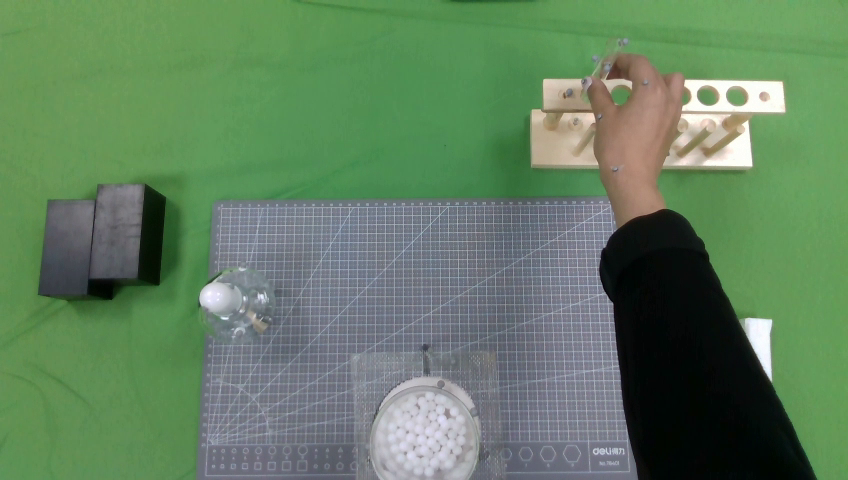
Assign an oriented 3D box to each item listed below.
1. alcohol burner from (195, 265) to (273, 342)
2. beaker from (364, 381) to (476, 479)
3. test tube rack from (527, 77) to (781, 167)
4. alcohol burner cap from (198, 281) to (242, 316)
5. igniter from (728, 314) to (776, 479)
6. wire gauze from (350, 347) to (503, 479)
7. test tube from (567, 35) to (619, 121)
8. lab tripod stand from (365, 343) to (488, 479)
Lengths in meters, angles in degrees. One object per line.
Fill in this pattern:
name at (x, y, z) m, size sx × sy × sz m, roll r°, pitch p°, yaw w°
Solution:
alcohol burner at (-0.191, 0.060, 0.596) m, size 0.078 × 0.119 × 0.077 m, roll 0°, pitch 76°, yaw 1°
beaker at (0.001, 0.147, 0.452) m, size 0.074 × 0.100 × 0.083 m, roll -23°, pitch 78°, yaw -3°
test tube rack at (0.238, -0.124, 0.649) m, size 0.242 × 0.085 × 0.066 m, roll 0°, pitch 78°, yaw 0°
alcohol burner cap at (-0.190, 0.053, 0.561) m, size 0.034 × 0.048 × 0.033 m, roll 1°, pitch 81°, yaw -3°
igniter at (0.334, 0.213, 0.612) m, size 0.057 × 0.025 × 0.275 m, roll 6°, pitch 79°, yaw -9°
wire gauze at (0.001, 0.151, 0.501) m, size 0.125 × 0.011 × 0.121 m, roll -3°, pitch 77°, yaw 2°
test tube at (0.164, -0.155, 0.600) m, size 0.017 × 0.151 × 0.017 m, roll 0°, pitch 76°, yaw 1°
lab tripod stand at (-0.001, 0.167, 0.565) m, size 0.148 × 0.132 × 0.147 m, roll 0°, pitch 78°, yaw 2°
